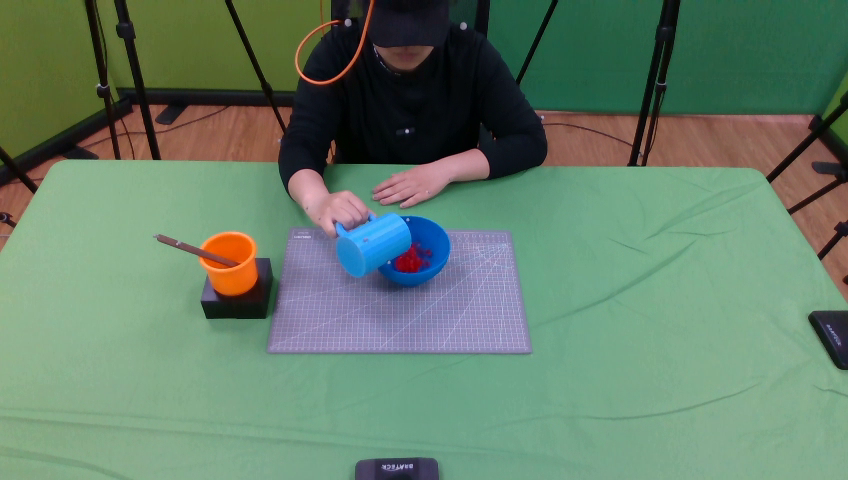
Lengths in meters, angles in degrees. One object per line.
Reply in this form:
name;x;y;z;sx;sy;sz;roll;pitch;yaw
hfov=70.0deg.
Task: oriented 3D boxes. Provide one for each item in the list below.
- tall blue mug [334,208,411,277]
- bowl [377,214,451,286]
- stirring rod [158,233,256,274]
tall blue mug;-0.093;-0.008;1.029;0.108;0.077;0.107;-30;95;-37
bowl;-0.028;0.031;1.122;0.151;0.077;0.150;2;46;-2
stirring rod;-0.353;0.024;1.000;0.177;0.006;0.014;26;32;-41
